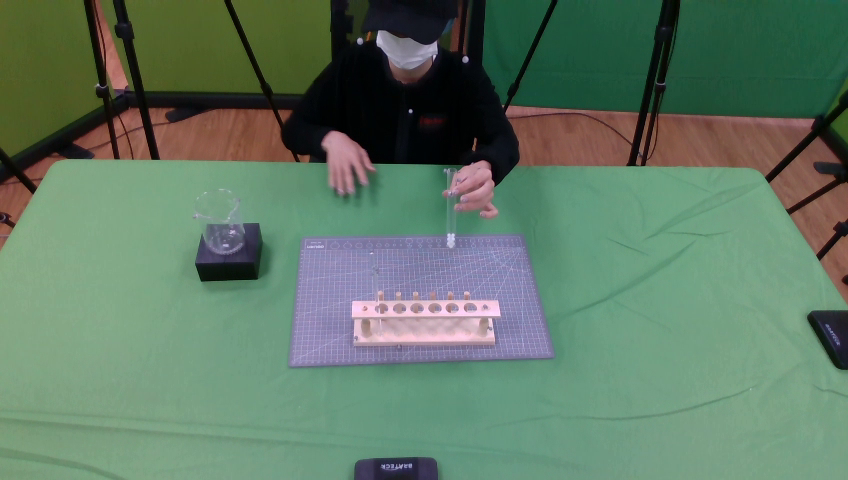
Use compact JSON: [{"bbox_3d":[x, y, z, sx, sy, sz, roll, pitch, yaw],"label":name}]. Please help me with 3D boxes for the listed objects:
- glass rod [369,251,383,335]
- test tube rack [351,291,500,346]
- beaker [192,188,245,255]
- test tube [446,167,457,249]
[{"bbox_3d":[-0.075,0.090,0.965,0.008,0.201,0.008,-1,44,1],"label":"glass rod"},{"bbox_3d":[0.000,0.129,1.026,0.242,0.085,0.066,0,46,-4],"label":"test tube rack"},{"bbox_3d":[-0.359,-0.028,1.073,0.074,0.101,0.083,-25,53,-25],"label":"beaker"},{"bbox_3d":[0.044,-0.049,0.972,0.017,0.151,0.017,0,35,0],"label":"test tube"}]
